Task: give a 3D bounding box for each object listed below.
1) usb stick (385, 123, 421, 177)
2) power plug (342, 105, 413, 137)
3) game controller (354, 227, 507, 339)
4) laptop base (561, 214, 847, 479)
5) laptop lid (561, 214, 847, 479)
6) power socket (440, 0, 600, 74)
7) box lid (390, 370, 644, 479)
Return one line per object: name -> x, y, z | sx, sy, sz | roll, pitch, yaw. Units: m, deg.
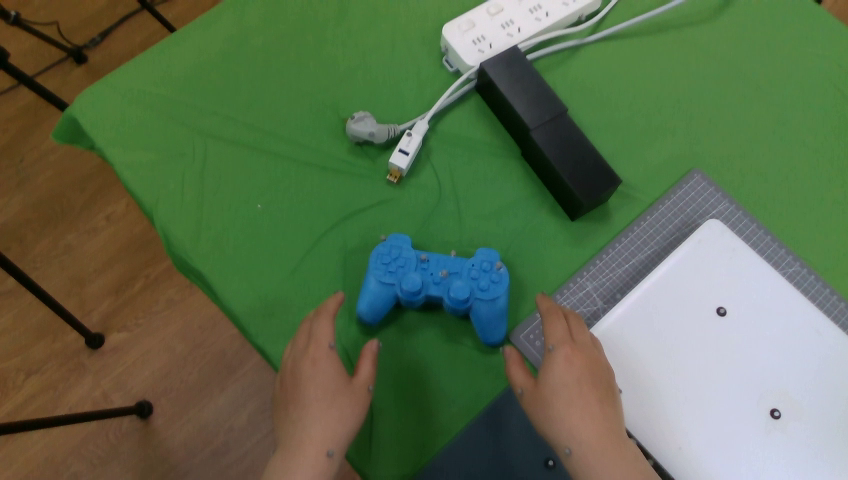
usb stick -> -0.026, -0.099, 0.676 | 0.021, 0.027, 0.059 | 28, 80, 0
power plug -> -0.057, -0.136, 0.695 | 0.073, 0.035, 0.052 | -7, 40, -41
game controller -> 0.011, 0.040, 0.621 | 0.155, 0.052, 0.096 | 10, 68, 1
laptop base -> 0.336, 0.167, 0.600 | 0.235, 0.023, 0.352 | -40, 77, -10
laptop lid -> 0.334, 0.164, 0.589 | 0.241, 0.013, 0.354 | -38, 76, -11
power socket -> 0.121, -0.279, 0.741 | 0.227, 0.033, 0.072 | -32, 75, -12
box lid -> 0.127, 0.327, 0.545 | 0.263, 0.015, 0.369 | -40, 77, -13
